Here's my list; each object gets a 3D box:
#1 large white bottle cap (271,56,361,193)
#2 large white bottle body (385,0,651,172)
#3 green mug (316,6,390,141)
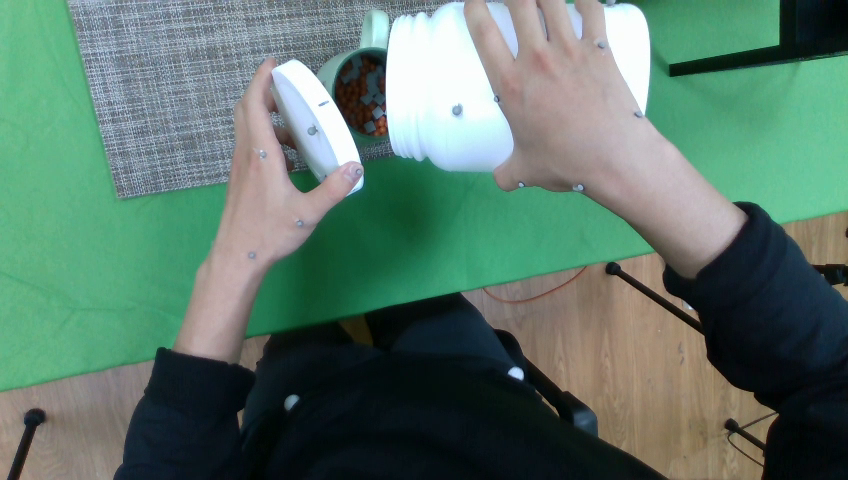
[{"bbox_3d":[-0.088,-0.092,0.494,0.018,0.114,0.115,-32,108,-18],"label":"large white bottle cap"},{"bbox_3d":[0.070,-0.121,0.477,0.184,0.130,0.131,3,100,7],"label":"large white bottle body"},{"bbox_3d":[-0.054,-0.157,0.576,0.093,0.104,0.125,6,98,-18],"label":"green mug"}]
